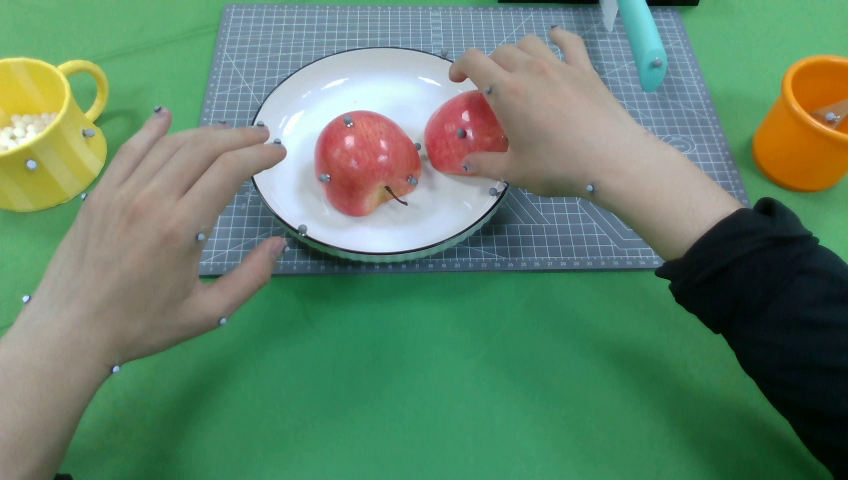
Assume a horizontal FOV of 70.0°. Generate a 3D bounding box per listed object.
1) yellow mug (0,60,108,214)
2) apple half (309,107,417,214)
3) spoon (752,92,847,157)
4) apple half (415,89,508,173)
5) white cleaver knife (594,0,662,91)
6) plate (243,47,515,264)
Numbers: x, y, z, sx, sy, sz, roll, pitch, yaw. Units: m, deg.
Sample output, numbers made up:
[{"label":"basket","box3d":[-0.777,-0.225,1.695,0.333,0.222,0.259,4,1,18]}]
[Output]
[{"label":"yellow mug","box3d":[-0.300,-0.090,0.468,0.099,0.064,0.130,30,61,15]},{"label":"apple half","box3d":[-0.048,-0.068,0.459,0.081,0.054,0.074,-28,67,-15]},{"label":"spoon","box3d":[0.352,-0.120,0.463,0.022,0.193,0.041,25,45,-40]},{"label":"apple half","box3d":[0.026,-0.090,0.473,0.081,0.033,0.080,-6,65,14]},{"label":"white cleaver knife","box3d":[0.177,-0.239,0.573,0.021,0.066,0.283,-3,55,1]},{"label":"plate","box3d":[-0.034,-0.068,0.479,0.209,0.038,0.207,1,59,-2]}]
